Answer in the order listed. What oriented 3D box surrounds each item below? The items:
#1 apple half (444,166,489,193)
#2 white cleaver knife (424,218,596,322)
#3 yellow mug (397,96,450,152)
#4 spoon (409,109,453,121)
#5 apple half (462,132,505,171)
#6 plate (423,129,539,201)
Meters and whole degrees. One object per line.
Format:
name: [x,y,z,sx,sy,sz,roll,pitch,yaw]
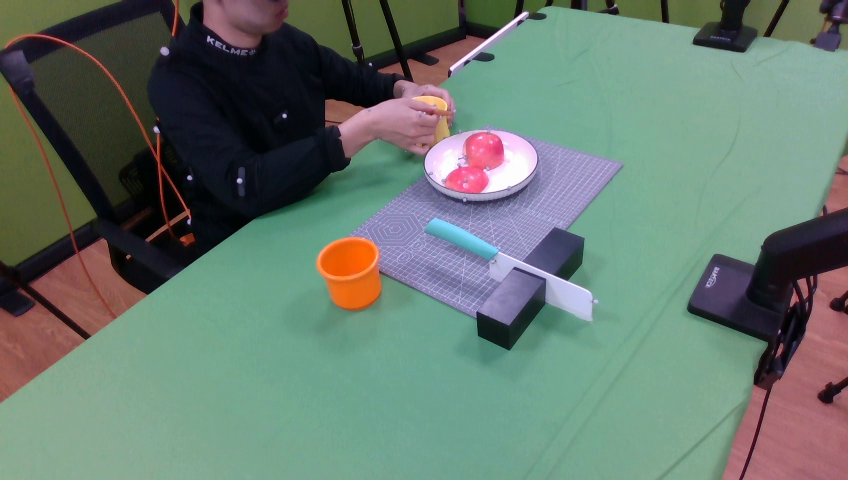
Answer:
apple half: [0.074,-0.112,1.062,0.081,0.033,0.081,-6,39,6]
white cleaver knife: [0.114,0.042,0.865,0.284,0.066,0.021,27,47,28]
yellow mug: [-0.004,-0.226,1.201,0.099,0.064,0.130,5,43,15]
spoon: [0.013,-0.238,1.142,0.042,0.021,0.192,-19,13,-15]
apple half: [0.109,-0.170,1.110,0.075,0.053,0.080,-6,40,-2]
plate: [0.103,-0.132,1.092,0.209,0.038,0.208,-4,40,4]
